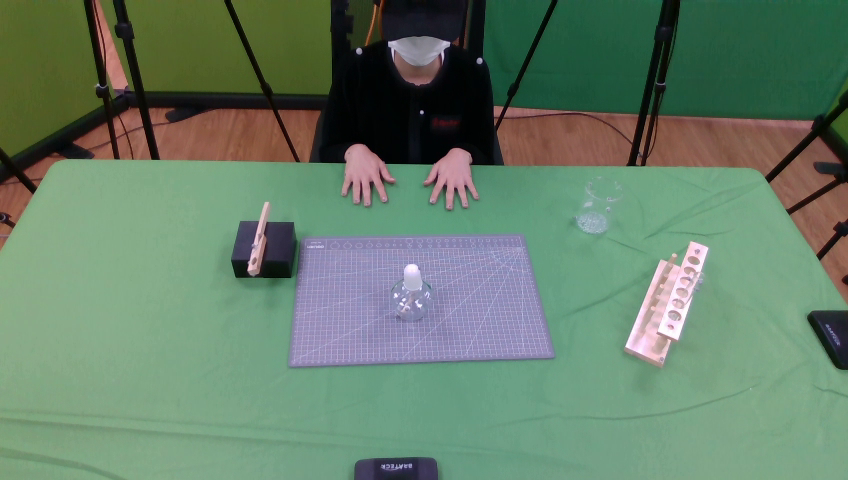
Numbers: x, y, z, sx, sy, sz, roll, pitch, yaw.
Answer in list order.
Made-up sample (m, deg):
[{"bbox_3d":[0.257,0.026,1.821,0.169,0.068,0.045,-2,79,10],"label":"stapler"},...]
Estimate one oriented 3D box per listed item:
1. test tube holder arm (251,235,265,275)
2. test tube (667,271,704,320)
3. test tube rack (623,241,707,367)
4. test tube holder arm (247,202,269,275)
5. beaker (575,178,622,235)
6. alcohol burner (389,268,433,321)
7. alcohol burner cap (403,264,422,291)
[{"bbox_3d":[-0.297,0.025,1.084,0.010,0.015,0.087,-6,46,2],"label":"test tube holder arm"},{"bbox_3d":[0.432,0.104,1.019,0.017,0.151,0.017,3,48,-3],"label":"test tube"},{"bbox_3d":[0.435,0.103,1.089,0.066,0.085,0.242,24,49,18],"label":"test tube rack"},{"bbox_3d":[-0.304,-0.006,1.116,0.013,0.015,0.177,-6,46,2],"label":"test tube holder arm"},{"bbox_3d":[0.356,-0.068,1.240,0.084,0.101,0.073,-18,50,-21],"label":"beaker"},{"bbox_3d":[-0.022,0.085,1.046,0.078,0.119,0.077,2,48,-2],"label":"alcohol burner"},{"bbox_3d":[-0.021,0.060,1.021,0.034,0.048,0.033,-2,46,2],"label":"alcohol burner cap"}]
